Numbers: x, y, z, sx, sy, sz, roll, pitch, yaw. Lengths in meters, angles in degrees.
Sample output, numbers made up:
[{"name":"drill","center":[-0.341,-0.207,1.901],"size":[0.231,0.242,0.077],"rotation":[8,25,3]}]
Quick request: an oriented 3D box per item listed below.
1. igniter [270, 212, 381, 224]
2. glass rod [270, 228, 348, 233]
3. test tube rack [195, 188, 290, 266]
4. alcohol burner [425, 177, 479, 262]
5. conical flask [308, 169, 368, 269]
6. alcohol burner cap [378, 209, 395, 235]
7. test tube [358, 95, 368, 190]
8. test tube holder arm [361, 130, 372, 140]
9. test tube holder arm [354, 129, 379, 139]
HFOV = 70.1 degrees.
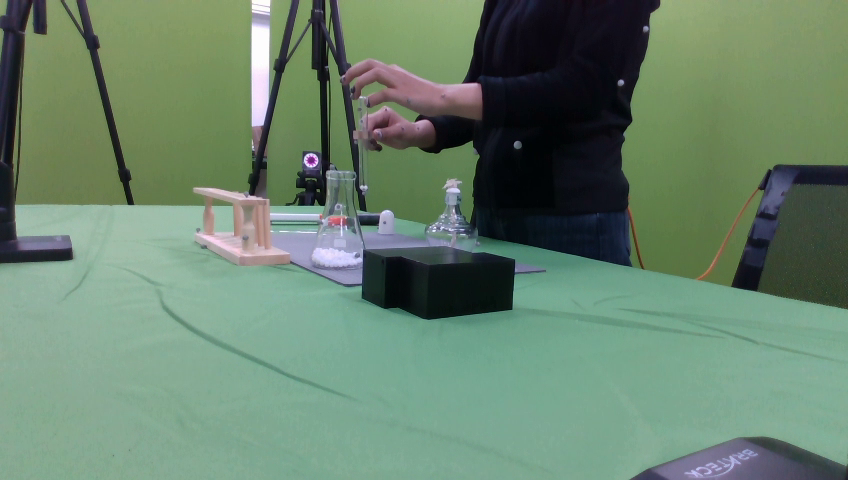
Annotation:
[{"name":"igniter","center":[-0.213,-0.048,1.279],"size":[0.278,0.025,0.057],"rotation":[-1,-2,-24]},{"name":"glass rod","center":[-0.235,-0.018,1.105],"size":[0.201,0.008,0.008],"rotation":[1,7,-26]},{"name":"test tube rack","center":[-0.266,-0.025,0.864],"size":[0.067,0.085,0.241],"rotation":[-2,8,-33]},{"name":"alcohol burner","center":[0.040,-0.029,0.853],"size":[0.078,0.119,0.078],"rotation":[2,9,0]},{"name":"conical flask","center":[-0.107,-0.028,0.762],"size":[0.075,0.122,0.075],"rotation":[2,7,0]},{"name":"alcohol burner cap","center":[-0.070,-0.035,1.144],"size":[0.034,0.048,0.034],"rotation":[2,8,0]},{"name":"test tube","center":[-0.098,-0.155,0.966],"size":[0.017,0.150,0.017],"rotation":[0,9,0]},{"name":"test tube holder arm","center":[-0.093,-0.172,0.988],"size":[0.010,0.015,0.088],"rotation":[9,11,-2]},{"name":"test tube holder arm","center":[-0.096,-0.181,1.032],"size":[0.013,0.015,0.178],"rotation":[11,11,2]}]
